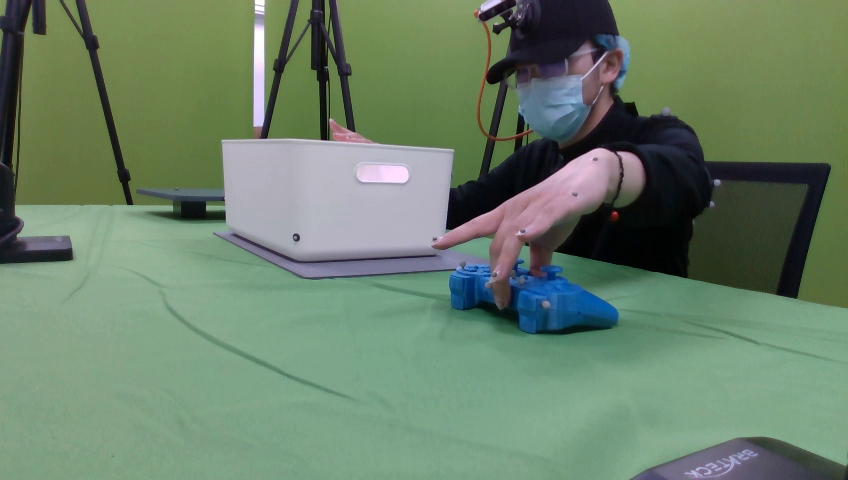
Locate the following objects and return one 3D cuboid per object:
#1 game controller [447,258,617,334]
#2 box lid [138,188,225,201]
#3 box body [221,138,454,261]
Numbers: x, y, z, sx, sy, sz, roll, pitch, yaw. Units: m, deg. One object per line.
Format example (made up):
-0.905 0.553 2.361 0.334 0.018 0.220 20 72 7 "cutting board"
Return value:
0.093 0.047 0.567 0.097 0.051 0.154 -6 11 -37 "game controller"
-0.433 -0.105 1.395 0.373 0.015 0.262 -5 10 -44 "box lid"
-0.151 -0.074 0.963 0.255 0.160 0.362 -3 9 -33 "box body"
